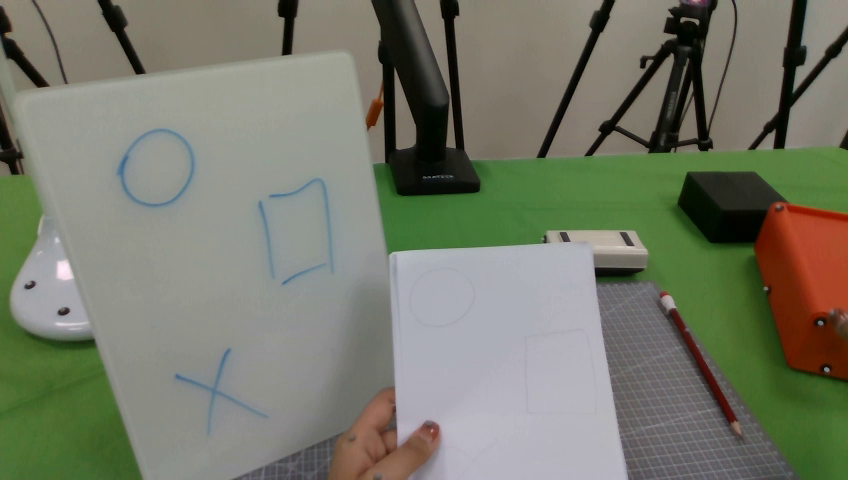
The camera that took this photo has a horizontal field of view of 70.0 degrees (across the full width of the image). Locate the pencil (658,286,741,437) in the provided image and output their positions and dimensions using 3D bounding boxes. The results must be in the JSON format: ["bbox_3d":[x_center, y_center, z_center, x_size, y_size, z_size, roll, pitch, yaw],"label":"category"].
[{"bbox_3d":[0.269,0.112,0.599,0.012,0.012,0.192,0,38,-4],"label":"pencil"}]

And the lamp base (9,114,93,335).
[{"bbox_3d":[-0.348,-0.025,0.595,0.178,0.182,0.160,20,38,26],"label":"lamp base"}]

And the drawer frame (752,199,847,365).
[{"bbox_3d":[0.478,0.054,0.642,0.201,0.083,0.212,10,35,10],"label":"drawer frame"}]

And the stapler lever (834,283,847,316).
[{"bbox_3d":[0.465,0.079,0.590,0.117,0.040,0.027,29,58,21],"label":"stapler lever"}]

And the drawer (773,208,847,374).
[{"bbox_3d":[0.478,0.057,0.639,0.194,0.074,0.210,11,35,12],"label":"drawer"}]

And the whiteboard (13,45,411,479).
[{"bbox_3d":[-0.156,0.014,0.498,0.218,0.307,0.142,-17,20,-25],"label":"whiteboard"}]

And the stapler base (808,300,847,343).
[{"bbox_3d":[0.464,0.096,0.611,0.129,0.024,0.041,28,58,23],"label":"stapler base"}]

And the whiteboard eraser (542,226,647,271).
[{"bbox_3d":[0.200,0.010,0.717,0.113,0.042,0.055,1,36,-4],"label":"whiteboard eraser"}]
